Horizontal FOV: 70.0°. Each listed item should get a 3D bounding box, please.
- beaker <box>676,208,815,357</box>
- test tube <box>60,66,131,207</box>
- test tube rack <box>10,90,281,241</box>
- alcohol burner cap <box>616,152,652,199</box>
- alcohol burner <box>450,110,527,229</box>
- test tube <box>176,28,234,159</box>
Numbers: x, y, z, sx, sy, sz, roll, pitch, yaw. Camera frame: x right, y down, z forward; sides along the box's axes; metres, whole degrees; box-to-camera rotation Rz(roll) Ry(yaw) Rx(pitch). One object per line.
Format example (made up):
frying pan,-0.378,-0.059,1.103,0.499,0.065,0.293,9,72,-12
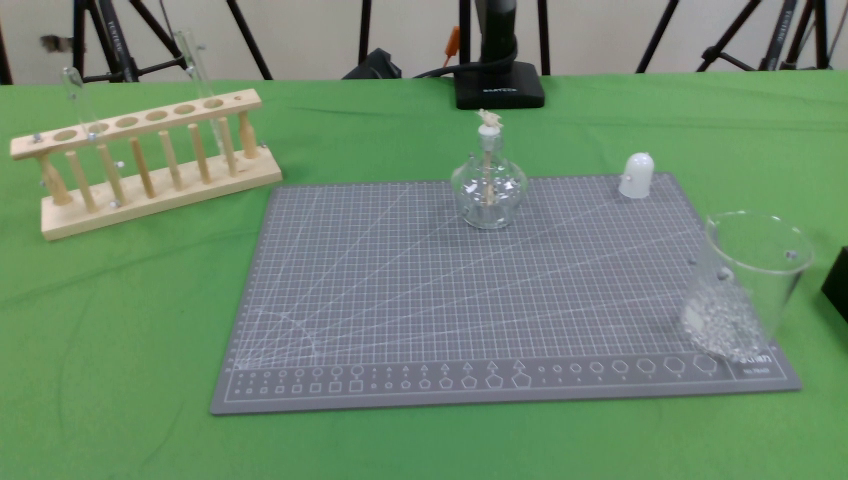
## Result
beaker,0.243,0.035,0.476,0.074,0.101,0.083,-21,43,-22
test tube,-0.318,-0.096,0.590,0.017,0.152,0.017,-1,39,2
test tube rack,-0.285,-0.084,0.644,0.243,0.086,0.066,-18,43,-19
alcohol burner cap,0.226,-0.072,0.649,0.034,0.048,0.033,0,40,1
alcohol burner,0.063,-0.071,0.596,0.078,0.120,0.077,-2,39,2
test tube,-0.231,-0.151,0.645,0.017,0.151,0.017,-3,42,3
